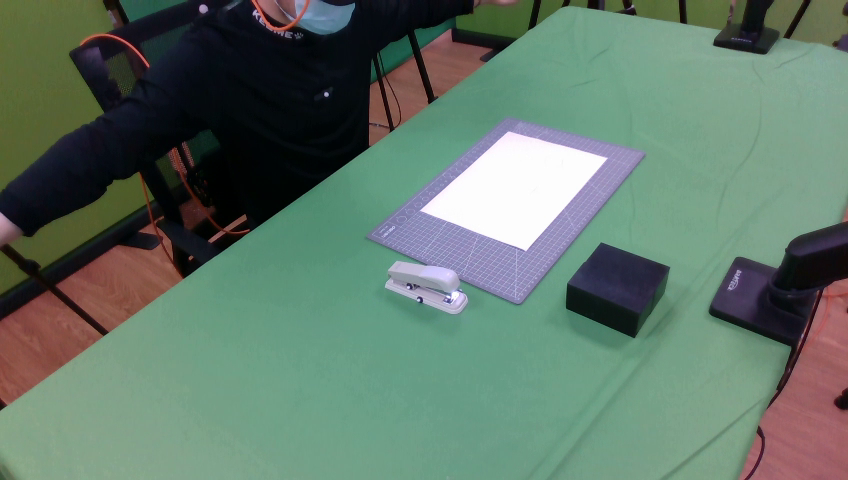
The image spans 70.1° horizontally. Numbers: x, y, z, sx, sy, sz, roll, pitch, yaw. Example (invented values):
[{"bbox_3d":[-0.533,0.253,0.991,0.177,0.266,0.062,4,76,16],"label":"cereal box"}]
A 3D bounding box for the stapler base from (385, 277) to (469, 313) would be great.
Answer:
[{"bbox_3d":[0.003,0.069,0.889,0.129,0.024,0.041,17,43,28],"label":"stapler base"}]

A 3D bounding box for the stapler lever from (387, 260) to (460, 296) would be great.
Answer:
[{"bbox_3d":[-0.002,0.050,0.873,0.117,0.040,0.027,17,44,28],"label":"stapler lever"}]
